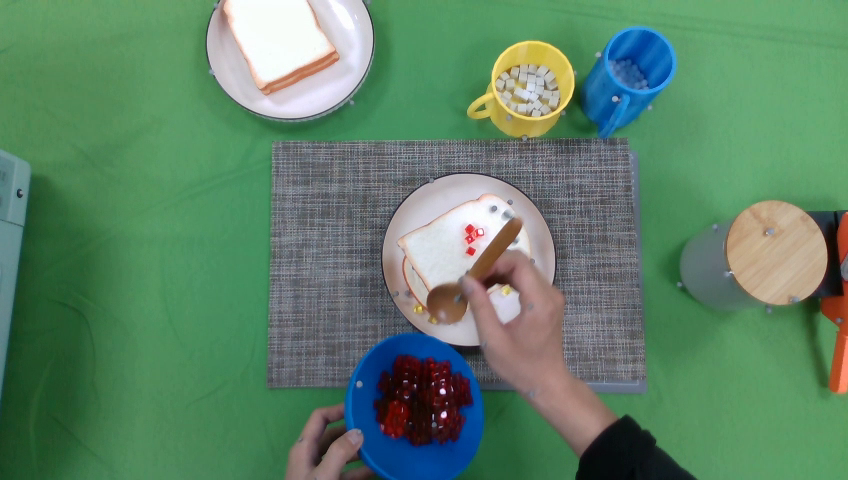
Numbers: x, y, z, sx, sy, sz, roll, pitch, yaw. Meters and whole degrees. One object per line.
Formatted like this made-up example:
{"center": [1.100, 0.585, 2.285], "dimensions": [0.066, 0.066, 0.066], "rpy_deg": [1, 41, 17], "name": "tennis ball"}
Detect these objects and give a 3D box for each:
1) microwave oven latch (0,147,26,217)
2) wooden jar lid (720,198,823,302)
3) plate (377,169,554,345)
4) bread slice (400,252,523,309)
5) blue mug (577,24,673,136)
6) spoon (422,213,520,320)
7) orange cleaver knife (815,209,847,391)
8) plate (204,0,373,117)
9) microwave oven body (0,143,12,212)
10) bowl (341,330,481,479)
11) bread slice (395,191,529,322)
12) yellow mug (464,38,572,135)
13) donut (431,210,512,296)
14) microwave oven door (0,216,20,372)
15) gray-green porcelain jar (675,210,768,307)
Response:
{"center": [-0.488, -0.068, 0.705], "dimensions": [0.030, 0.029, 0.079], "rpy_deg": [6, 82, -1], "name": "microwave oven latch"}
{"center": [0.356, 0.011, 0.627], "dimensions": [0.108, 0.021, 0.108], "rpy_deg": [0, 84, -3], "name": "wooden jar lid"}
{"center": [0.049, 0.019, 0.722], "dimensions": [0.209, 0.038, 0.208], "rpy_deg": [0, 81, -1], "name": "plate"}
{"center": [0.040, 0.029, 0.723], "dimensions": [0.131, 0.019, 0.104], "rpy_deg": [-32, 82, -8], "name": "bread slice"}
{"center": [0.233, -0.181, 0.728], "dimensions": [0.082, 0.106, 0.116], "rpy_deg": [21, 81, 2], "name": "blue mug"}
{"center": [0.039, 0.029, 0.528], "dimensions": [0.041, 0.194, 0.021], "rpy_deg": [40, 60, 3], "name": "spoon"}
{"center": [0.483, 0.072, 0.706], "dimensions": [0.012, 0.077, 0.212], "rpy_deg": [-1, 107, -1], "name": "orange cleaver knife"}
{"center": [-0.167, -0.251, 0.762], "dimensions": [0.208, 0.039, 0.207], "rpy_deg": [0, 81, -2], "name": "plate"}
{"center": [-0.639, 0.086, 0.580], "dimensions": [0.326, 0.261, 0.440], "rpy_deg": [2, 82, -1], "name": "microwave oven body"}
{"center": [-0.024, 0.176, 0.628], "dimensions": [0.152, 0.077, 0.150], "rpy_deg": [13, 62, -25], "name": "bowl"}
{"center": [0.047, 0.008, 0.664], "dimensions": [0.134, 0.018, 0.107], "rpy_deg": [-35, 90, -13], "name": "bread slice"}
{"center": [0.111, -0.181, 0.744], "dimensions": [0.131, 0.064, 0.099], "rpy_deg": [-21, 81, -3], "name": "yellow mug"}
{"center": [0.055, 0.015, 0.694], "dimensions": [0.099, 0.048, 0.098], "rpy_deg": [4, 79, -19], "name": "donut"}
{"center": [-0.495, 0.132, 0.572], "dimensions": [0.039, 0.244, 0.354], "rpy_deg": [2, 81, -1], "name": "microwave oven door"}
{"center": [0.356, 0.022, 0.689], "dimensions": [0.106, 0.127, 0.105], "rpy_deg": [0, 81, -1], "name": "gray-green porcelain jar"}
